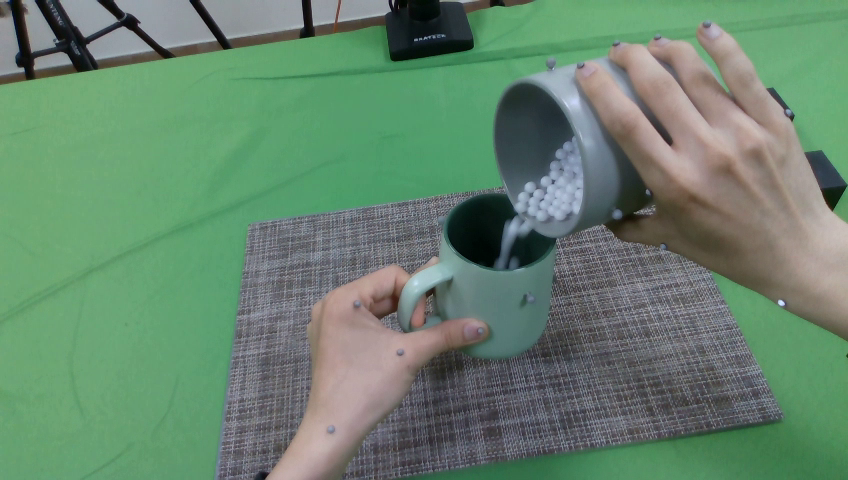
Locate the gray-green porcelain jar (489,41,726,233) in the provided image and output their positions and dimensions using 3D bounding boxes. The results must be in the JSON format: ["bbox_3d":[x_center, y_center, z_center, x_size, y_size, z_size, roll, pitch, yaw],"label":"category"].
[{"bbox_3d":[0.124,-0.073,0.407,0.127,0.107,0.104,-18,50,-20],"label":"gray-green porcelain jar"}]

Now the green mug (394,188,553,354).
[{"bbox_3d":[0.035,0.031,0.451,0.125,0.106,0.091,-23,52,-20],"label":"green mug"}]
